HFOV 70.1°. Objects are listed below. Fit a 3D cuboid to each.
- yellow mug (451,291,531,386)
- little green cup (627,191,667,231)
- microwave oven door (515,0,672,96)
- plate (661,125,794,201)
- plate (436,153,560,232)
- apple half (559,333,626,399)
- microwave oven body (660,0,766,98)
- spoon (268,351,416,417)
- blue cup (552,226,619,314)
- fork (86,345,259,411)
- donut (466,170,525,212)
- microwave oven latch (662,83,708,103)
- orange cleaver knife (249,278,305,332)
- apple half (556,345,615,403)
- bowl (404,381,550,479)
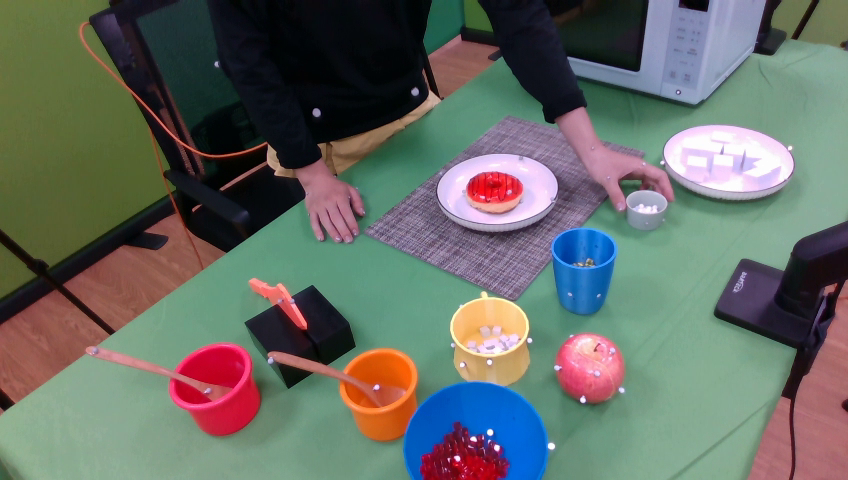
[{"bbox_3d":[0.086,0.120,0.786,0.100,0.064,0.130,-7,39,2],"label":"yellow mug"},{"bbox_3d":[0.352,-0.045,0.963,0.061,0.039,0.061,-4,40,3],"label":"little green cup"},{"bbox_3d":[0.344,-0.455,1.259,0.353,0.245,0.039,26,51,33],"label":"microwave oven door"},{"bbox_3d":[0.514,-0.128,1.035,0.207,0.039,0.206,-4,40,4],"label":"plate"},{"bbox_3d":[0.125,-0.078,1.029,0.209,0.038,0.208,-4,40,4],"label":"plate"},{"bbox_3d":[0.209,0.147,0.730,0.080,0.075,0.053,26,48,38],"label":"apple half"},{"bbox_3d":[0.473,-0.513,1.317,0.438,0.261,0.327,26,51,34],"label":"microwave oven body"},{"bbox_3d":[-0.091,0.163,0.699,0.021,0.195,0.041,-44,31,28],"label":"spoon"},{"bbox_3d":[0.218,0.047,0.825,0.092,0.101,0.092,-6,39,5],"label":"blue cup"},{"bbox_3d":[-0.298,0.166,0.728,0.209,0.018,0.028,28,45,-23],"label":"fork"},{"bbox_3d":[0.120,-0.083,1.019,0.099,0.048,0.098,-4,39,4],"label":"donut"},{"bbox_3d":[0.518,-0.297,1.204,0.078,0.029,0.030,29,53,36],"label":"microwave oven latch"},{"bbox_3d":[-0.210,0.089,0.855,0.012,0.077,0.210,-28,15,-25],"label":"orange cleaver knife"},{"bbox_3d":[0.181,0.166,0.709,0.080,0.081,0.033,29,50,35],"label":"apple half"},{"bbox_3d":[0.058,0.235,0.645,0.151,0.077,0.150,-4,39,4],"label":"bowl"}]
